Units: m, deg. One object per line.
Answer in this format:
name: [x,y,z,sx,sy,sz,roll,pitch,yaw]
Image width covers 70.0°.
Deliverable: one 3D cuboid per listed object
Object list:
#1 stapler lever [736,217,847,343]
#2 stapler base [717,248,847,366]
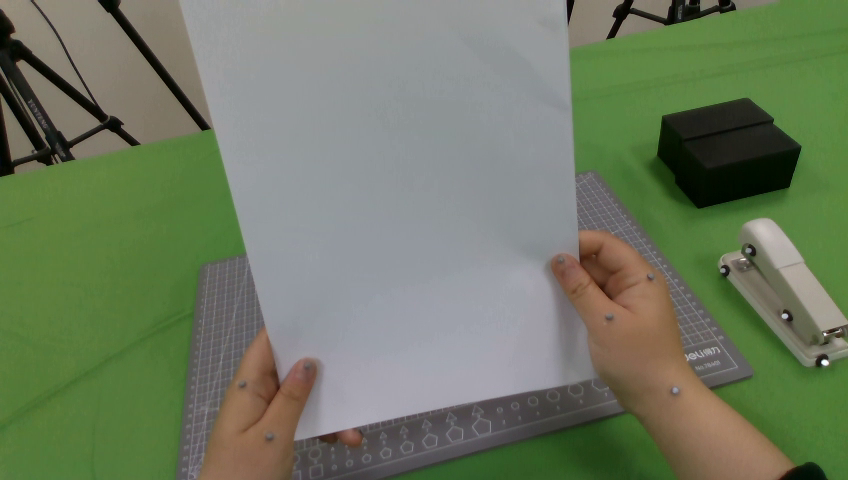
stapler lever: [0.296,0.028,0.489,0.027,0.040,0.116,-16,43,-3]
stapler base: [0.299,0.045,0.507,0.041,0.025,0.129,-16,43,-3]
